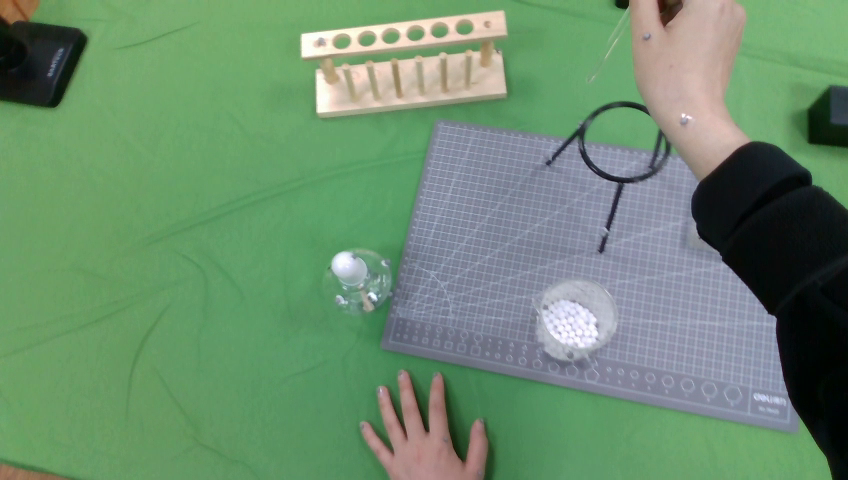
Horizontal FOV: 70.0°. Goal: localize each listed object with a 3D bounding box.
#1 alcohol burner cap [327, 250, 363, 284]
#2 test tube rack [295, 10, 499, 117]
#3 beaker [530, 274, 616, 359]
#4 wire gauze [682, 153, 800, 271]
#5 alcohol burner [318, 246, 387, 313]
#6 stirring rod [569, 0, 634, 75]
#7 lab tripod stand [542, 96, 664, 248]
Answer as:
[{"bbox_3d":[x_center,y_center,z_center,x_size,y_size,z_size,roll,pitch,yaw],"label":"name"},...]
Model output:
[{"bbox_3d":[-0.084,0.026,0.625,0.034,0.048,0.033,-1,75,4],"label":"alcohol burner cap"},{"bbox_3d":[-0.030,-0.216,0.752,0.242,0.086,0.066,-6,71,2],"label":"test tube rack"},{"bbox_3d":[0.148,0.083,0.631,0.084,0.101,0.073,16,73,10],"label":"beaker"},{"bbox_3d":[0.367,-0.036,0.700,0.125,0.011,0.121,15,73,6],"label":"wire gauze"},{"bbox_3d":[-0.080,0.038,0.659,0.078,0.120,0.077,-1,70,3],"label":"alcohol burner"},{"bbox_3d":[0.148,-0.179,0.433,0.014,0.177,0.006,43,62,7],"label":"stirring rod"},{"bbox_3d":[0.200,-0.079,0.661,0.148,0.132,0.147,-1,73,3],"label":"lab tripod stand"}]
